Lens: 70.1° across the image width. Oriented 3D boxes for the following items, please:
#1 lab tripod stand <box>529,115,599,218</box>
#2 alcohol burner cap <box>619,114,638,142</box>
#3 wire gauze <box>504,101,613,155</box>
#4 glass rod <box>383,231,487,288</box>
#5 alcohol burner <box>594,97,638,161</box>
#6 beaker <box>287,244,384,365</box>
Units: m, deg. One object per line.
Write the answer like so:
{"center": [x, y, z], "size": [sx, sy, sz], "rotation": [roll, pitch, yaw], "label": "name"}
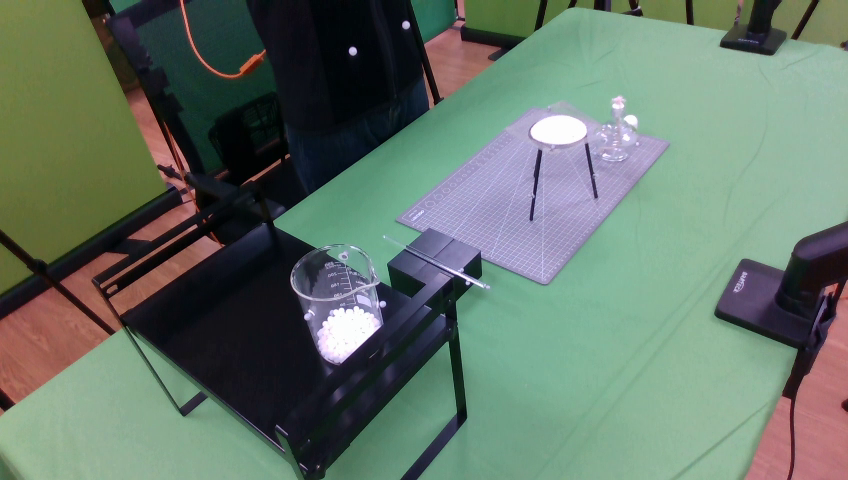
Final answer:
{"center": [0.217, -0.123, 0.995], "size": [0.148, 0.132, 0.147], "rotation": [-4, 42, 4], "label": "lab tripod stand"}
{"center": [0.388, -0.214, 1.145], "size": [0.034, 0.048, 0.033], "rotation": [-3, 39, 2], "label": "alcohol burner cap"}
{"center": [0.211, -0.176, 0.955], "size": [0.125, 0.011, 0.120], "rotation": [-24, 44, -18], "label": "wire gauze"}
{"center": [0.012, 0.026, 0.879], "size": [0.198, 0.008, 0.008], "rotation": [27, 51, 34], "label": "glass rod"}
{"center": [0.345, -0.203, 1.083], "size": [0.078, 0.119, 0.077], "rotation": [-5, 42, 5], "label": "alcohol burner"}
{"center": [-0.076, 0.065, 0.574], "size": [0.083, 0.101, 0.074], "rotation": [7, 44, 15], "label": "beaker"}
